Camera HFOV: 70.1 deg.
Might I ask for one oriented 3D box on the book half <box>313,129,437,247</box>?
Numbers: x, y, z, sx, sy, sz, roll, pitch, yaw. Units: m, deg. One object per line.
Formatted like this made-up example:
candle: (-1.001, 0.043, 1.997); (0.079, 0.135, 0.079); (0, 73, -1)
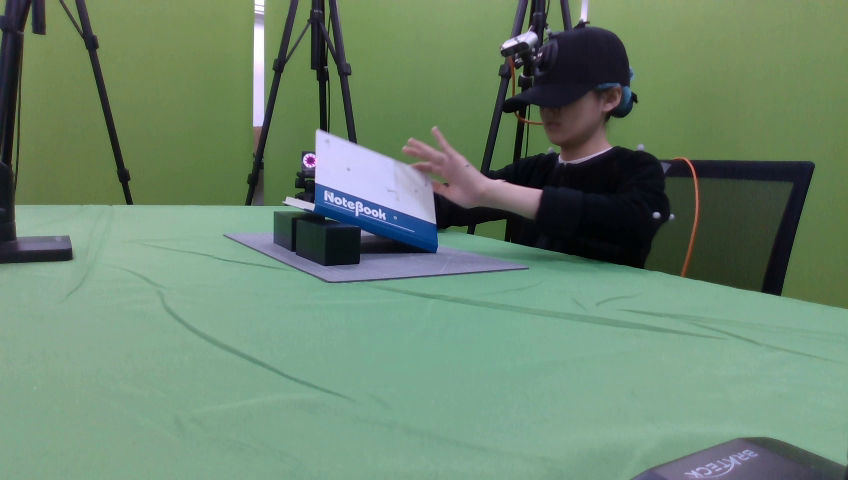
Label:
book half: (-0.070, -0.078, 0.912); (0.211, 0.143, 0.007); (19, -40, -30)
